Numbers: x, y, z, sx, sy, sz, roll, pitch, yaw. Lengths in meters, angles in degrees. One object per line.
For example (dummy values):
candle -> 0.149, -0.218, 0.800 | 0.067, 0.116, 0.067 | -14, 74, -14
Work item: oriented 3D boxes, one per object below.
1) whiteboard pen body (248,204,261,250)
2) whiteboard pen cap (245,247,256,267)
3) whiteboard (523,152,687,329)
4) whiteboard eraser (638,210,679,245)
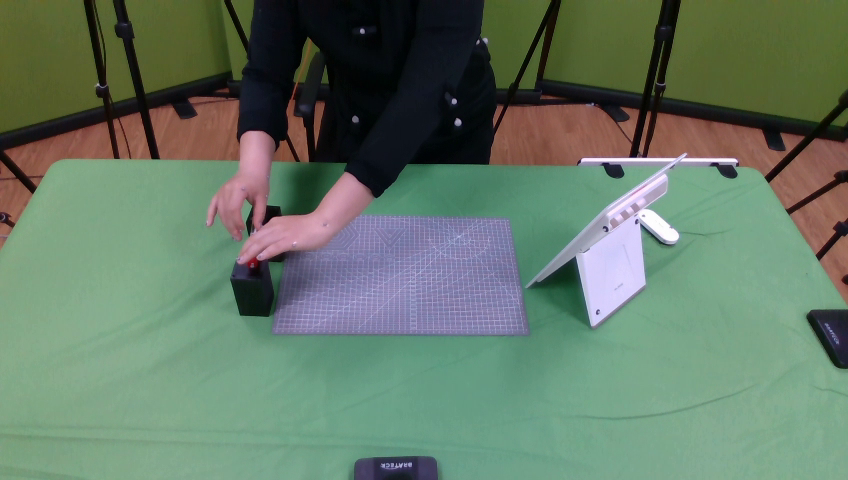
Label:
whiteboard pen body -> -0.296, -0.014, 1.053 | 0.017, 0.017, 0.139 | -3, 45, -7
whiteboard pen cap -> -0.288, 0.028, 1.011 | 0.017, 0.017, 0.032 | -2, 45, -7
whiteboard -> 0.346, 0.025, 1.046 | 0.217, 0.306, 0.143 | -30, 74, -29
whiteboard eraser -> 0.485, -0.027, 1.260 | 0.041, 0.019, 0.100 | -20, 50, -22
